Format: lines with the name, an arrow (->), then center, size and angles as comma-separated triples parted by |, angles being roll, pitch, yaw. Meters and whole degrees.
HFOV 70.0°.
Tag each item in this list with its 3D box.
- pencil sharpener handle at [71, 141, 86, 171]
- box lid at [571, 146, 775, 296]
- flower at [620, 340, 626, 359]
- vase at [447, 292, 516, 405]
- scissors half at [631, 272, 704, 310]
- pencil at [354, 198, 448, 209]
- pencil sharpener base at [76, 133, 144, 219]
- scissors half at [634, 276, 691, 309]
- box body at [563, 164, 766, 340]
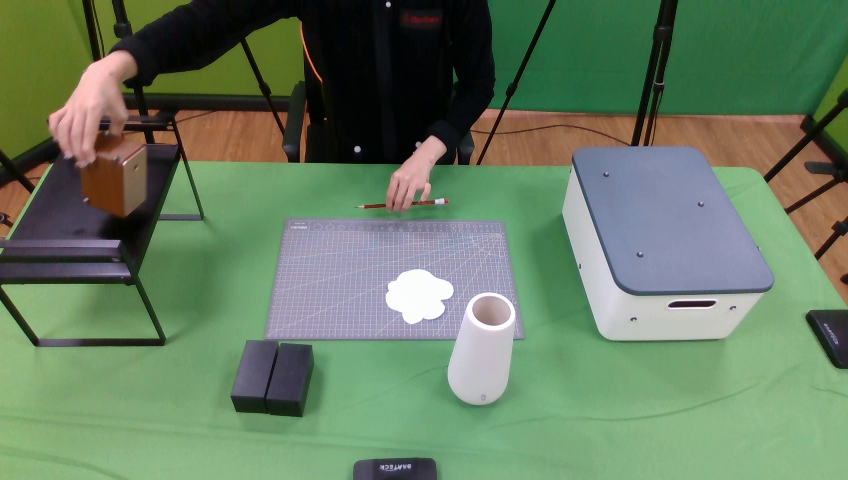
pencil sharpener handle -> -0.519, -0.125, 0.911 | 0.030, 0.068, 0.036 | 20, 49, -1
box lid -> 0.424, -0.048, 1.074 | 0.263, 0.015, 0.369 | -1, 46, -4
flower -> 0.416, 0.065, 1.186 | 0.038, 0.044, 0.360 | 29, 64, -20
vase -> 0.091, 0.168, 0.921 | 0.098, 0.201, 0.097 | 3, 47, -3
scissors half -> 0.460, 0.092, 1.132 | 0.175, 0.040, 0.013 | -22, 83, -21
pencil -> -0.045, -0.073, 1.229 | 0.194, 0.012, 0.012 | -5, 47, -13
pencil sharpener base -> -0.476, -0.096, 0.917 | 0.077, 0.107, 0.061 | 20, 38, -1
scissors half -> 0.454, 0.096, 1.144 | 0.175, 0.040, 0.013 | -20, 88, -31
box body -> 0.421, 0.003, 1.130 | 0.254, 0.161, 0.361 | 0, 46, -5
